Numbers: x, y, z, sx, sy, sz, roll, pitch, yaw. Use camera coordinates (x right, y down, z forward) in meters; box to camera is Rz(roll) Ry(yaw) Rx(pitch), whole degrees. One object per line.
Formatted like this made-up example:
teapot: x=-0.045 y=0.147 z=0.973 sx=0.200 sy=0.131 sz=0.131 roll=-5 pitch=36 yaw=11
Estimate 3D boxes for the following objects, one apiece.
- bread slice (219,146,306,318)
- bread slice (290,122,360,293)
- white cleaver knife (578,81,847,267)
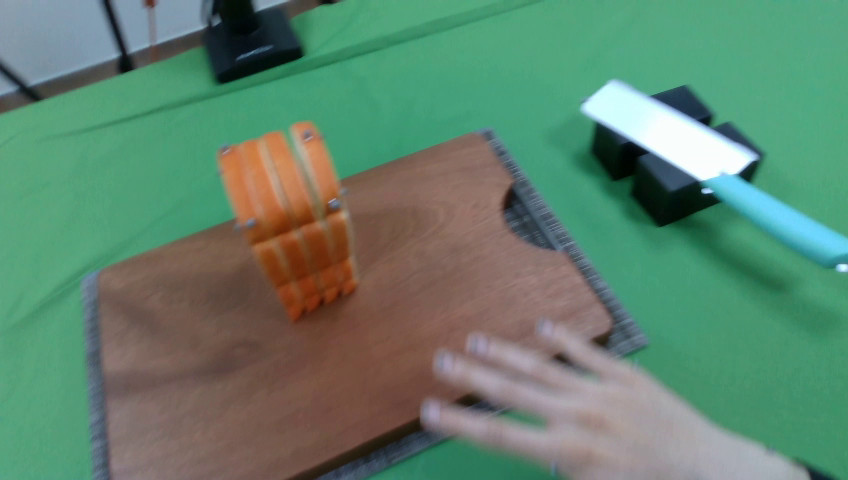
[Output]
bread slice: x=-0.133 y=-0.013 z=0.500 sx=0.018 sy=0.135 sz=0.106 roll=-23 pitch=50 yaw=-9
bread slice: x=-0.083 y=-0.031 z=0.509 sx=0.019 sy=0.133 sz=0.103 roll=-20 pitch=53 yaw=-14
white cleaver knife: x=0.260 y=-0.074 z=0.547 sx=0.066 sy=0.022 sz=0.283 roll=-35 pitch=58 yaw=-18
